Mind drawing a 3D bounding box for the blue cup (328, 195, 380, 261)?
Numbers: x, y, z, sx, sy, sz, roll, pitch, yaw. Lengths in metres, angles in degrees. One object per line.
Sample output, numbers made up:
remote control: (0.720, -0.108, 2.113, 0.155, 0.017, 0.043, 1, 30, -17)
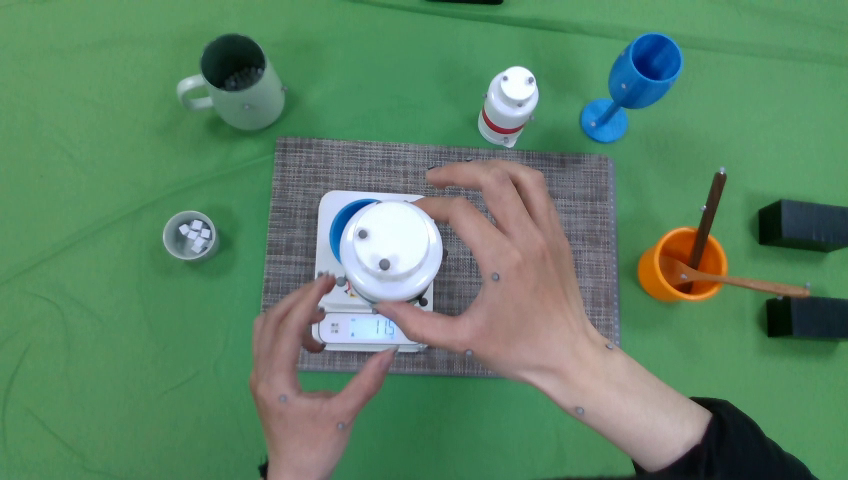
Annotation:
blue cup: (-0.064, 0.001, 0.700, 0.093, 0.100, 0.092, 1, 80, -4)

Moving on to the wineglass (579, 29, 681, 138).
wineglass: (0.253, -0.190, 0.761, 0.074, 0.173, 0.073, 1, 78, -3)

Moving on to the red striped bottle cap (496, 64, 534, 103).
red striped bottle cap: (0.109, -0.188, 0.722, 0.044, 0.018, 0.044, 1, 75, -4)

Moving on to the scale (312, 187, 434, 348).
scale: (-0.063, 0.033, 0.761, 0.149, 0.031, 0.200, 2, 79, -3)

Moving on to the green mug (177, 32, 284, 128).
green mug: (-0.245, -0.194, 0.760, 0.125, 0.105, 0.092, -19, 80, -7)

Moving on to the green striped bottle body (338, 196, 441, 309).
green striped bottle body: (-0.023, 0.010, 0.399, 0.063, 0.119, 0.063, 1, 79, -3)

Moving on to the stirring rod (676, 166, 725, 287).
stirring rod: (0.338, -0.011, 0.744, 0.014, 0.177, 0.006, 8, 37, 11)

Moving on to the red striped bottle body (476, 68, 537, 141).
red striped bottle body: (0.106, -0.177, 0.775, 0.063, 0.120, 0.063, 1, 78, -4)

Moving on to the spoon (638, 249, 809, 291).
spoon: (0.355, 0.041, 0.734, 0.022, 0.192, 0.041, 22, 82, -44)

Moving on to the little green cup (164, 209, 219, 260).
little green cup: (-0.285, -0.005, 0.752, 0.061, 0.039, 0.061, 1, 78, -5)

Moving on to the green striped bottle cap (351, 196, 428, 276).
green striped bottle cap: (-0.019, -0.002, 0.345, 0.044, 0.020, 0.044, 1, 78, -5)
